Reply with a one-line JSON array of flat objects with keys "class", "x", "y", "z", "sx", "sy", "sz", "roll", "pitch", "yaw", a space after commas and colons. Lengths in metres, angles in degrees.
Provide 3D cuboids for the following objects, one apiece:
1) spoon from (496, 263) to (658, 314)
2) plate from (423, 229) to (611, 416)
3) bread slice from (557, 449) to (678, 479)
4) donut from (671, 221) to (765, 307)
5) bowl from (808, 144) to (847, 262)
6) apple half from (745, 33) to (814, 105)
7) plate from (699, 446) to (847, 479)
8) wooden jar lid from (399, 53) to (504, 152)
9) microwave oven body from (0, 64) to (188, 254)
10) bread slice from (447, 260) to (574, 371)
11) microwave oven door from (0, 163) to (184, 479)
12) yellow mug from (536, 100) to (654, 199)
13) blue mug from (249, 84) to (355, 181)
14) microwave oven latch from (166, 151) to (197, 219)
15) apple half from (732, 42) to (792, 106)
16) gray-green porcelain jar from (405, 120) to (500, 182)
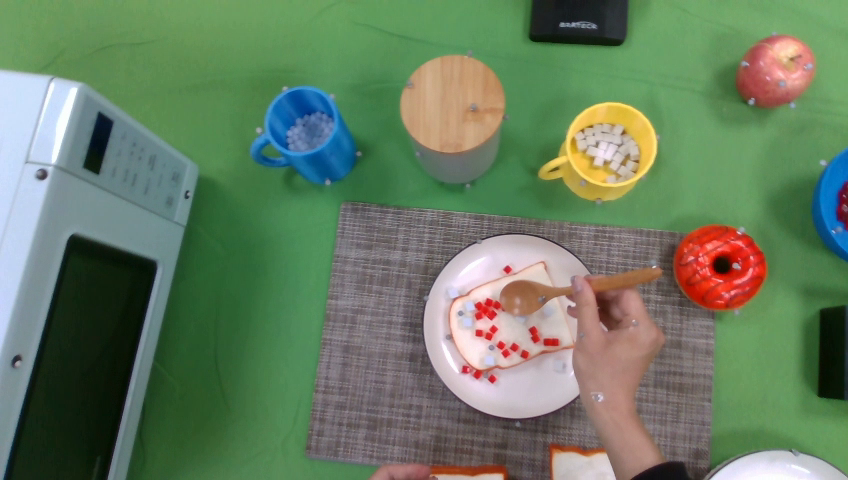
[{"class": "spoon", "x": 0.145, "y": 0.048, "z": 0.604, "sx": 0.022, "sy": 0.193, "sz": 0.041, "roll": -23, "pitch": 93, "yaw": -38}, {"class": "plate", "x": 0.104, "y": 0.092, "z": 0.689, "sx": 0.207, "sy": 0.039, "sz": 0.207, "roll": -1, "pitch": 80, "yaw": 4}, {"class": "bread slice", "x": 0.206, "y": 0.274, "z": 0.627, "sx": 0.135, "sy": 0.018, "sz": 0.106, "roll": 1, "pitch": 76, "yaw": -16}, {"class": "donut", "x": 0.328, "y": 0.027, "z": 0.681, "sx": 0.099, "sy": 0.048, "sz": 0.098, "roll": -1, "pitch": 81, "yaw": 4}, {"class": "bowl", "x": 0.491, "y": -0.033, "z": 0.667, "sx": 0.151, "sy": 0.077, "sz": 0.151, "roll": -1, "pitch": 80, "yaw": 5}, {"class": "apple half", "x": 0.415, "y": -0.202, "z": 0.705, "sx": 0.053, "sy": 0.075, "sz": 0.080, "roll": -26, "pitch": 75, "yaw": -6}, {"class": "plate", "x": 0.370, "y": 0.321, "z": 0.633, "sx": 0.209, "sy": 0.038, "sz": 0.208, "roll": -1, "pitch": 80, "yaw": 4}, {"class": "wooden jar lid", "x": 0.028, "y": -0.141, "z": 0.632, "sx": 0.108, "sy": 0.021, "sz": 0.108, "roll": -1, "pitch": 78, "yaw": 4}, {"class": "microwave oven body", "x": -0.481, "y": 0.064, "z": 0.623, "sx": 0.326, "sy": 0.261, "sz": 0.440, "roll": 9, "pitch": 81, "yaw": 5}, {"class": "bread slice", "x": 0.094, "y": 0.092, "z": 0.693, "sx": 0.131, "sy": 0.019, "sz": 0.104, "roll": -20, "pitch": 78, "yaw": -2}, {"class": "microwave oven door", "x": -0.346, "y": 0.127, "z": 0.597, "sx": 0.039, "sy": 0.245, "sz": 0.354, "roll": 9, "pitch": 80, "yaw": 6}, {"class": "yellow mug", "x": 0.194, "y": -0.099, "z": 0.707, "sx": 0.131, "sy": 0.064, "sz": 0.099, "roll": -18, "pitch": 79, "yaw": 2}, {"class": "blue mug", "x": -0.147, "y": -0.118, "z": 0.714, "sx": 0.116, "sy": 0.106, "sz": 0.082, "roll": -20, "pitch": 78, "yaw": 1}, {"class": "microwave oven latch", "x": -0.298, "y": -0.067, "z": 0.732, "sx": 0.030, "sy": 0.029, "sz": 0.079, "roll": 11, "pitch": 81, "yaw": 6}, {"class": "apple half", "x": 0.381, "y": -0.183, "z": 0.702, "sx": 0.033, "sy": 0.081, "sz": 0.081, "roll": -27, "pitch": 78, "yaw": -5}, {"class": "gray-green porcelain jar", "x": 0.033, "y": -0.129, "z": 0.693, "sx": 0.106, "sy": 0.127, "sz": 0.105, "roll": -1, "pitch": 79, "yaw": 4}]
